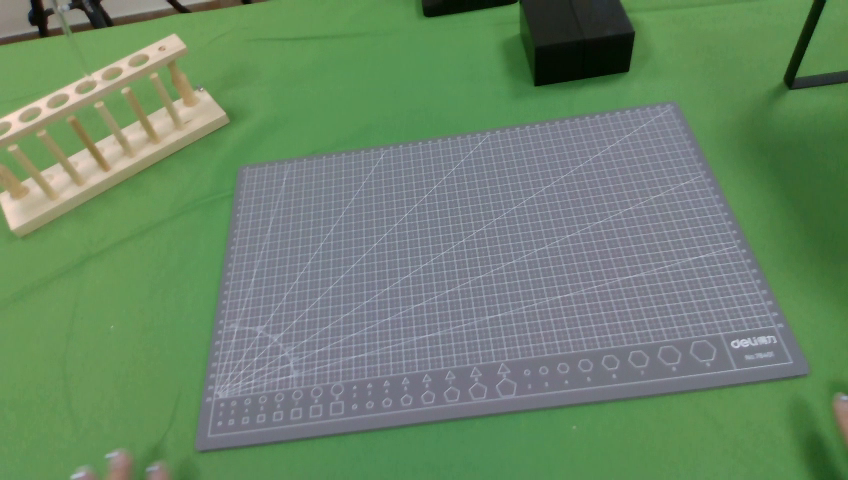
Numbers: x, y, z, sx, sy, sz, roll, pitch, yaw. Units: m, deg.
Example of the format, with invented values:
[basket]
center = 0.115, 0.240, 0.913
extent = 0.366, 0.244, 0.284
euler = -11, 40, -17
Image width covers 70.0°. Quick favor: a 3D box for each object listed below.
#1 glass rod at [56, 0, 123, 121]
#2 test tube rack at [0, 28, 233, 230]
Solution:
[glass rod]
center = -0.332, -0.184, 0.595
extent = 0.008, 0.201, 0.008
euler = -2, 45, 3
[test tube rack]
center = -0.334, -0.118, 0.630
extent = 0.242, 0.086, 0.066
euler = -34, 56, -16
